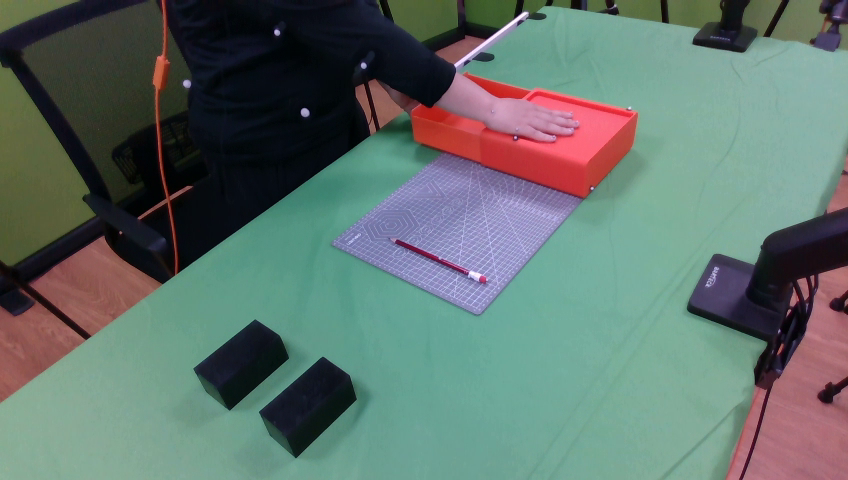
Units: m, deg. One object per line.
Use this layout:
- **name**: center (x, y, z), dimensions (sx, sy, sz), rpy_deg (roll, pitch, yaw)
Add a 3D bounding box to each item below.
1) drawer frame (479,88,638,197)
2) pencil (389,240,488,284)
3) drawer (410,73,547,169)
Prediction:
- **drawer frame**: center (0.244, -0.184, 1.101), dimensions (0.212, 0.083, 0.202), rpy_deg (23, 48, 30)
- **pencil**: center (0.018, 0.030, 0.938), dimensions (0.192, 0.012, 0.012), rpy_deg (22, 48, 32)
- **drawer**: center (0.114, -0.237, 1.183), dimensions (0.210, 0.073, 0.195), rpy_deg (24, 49, 30)
